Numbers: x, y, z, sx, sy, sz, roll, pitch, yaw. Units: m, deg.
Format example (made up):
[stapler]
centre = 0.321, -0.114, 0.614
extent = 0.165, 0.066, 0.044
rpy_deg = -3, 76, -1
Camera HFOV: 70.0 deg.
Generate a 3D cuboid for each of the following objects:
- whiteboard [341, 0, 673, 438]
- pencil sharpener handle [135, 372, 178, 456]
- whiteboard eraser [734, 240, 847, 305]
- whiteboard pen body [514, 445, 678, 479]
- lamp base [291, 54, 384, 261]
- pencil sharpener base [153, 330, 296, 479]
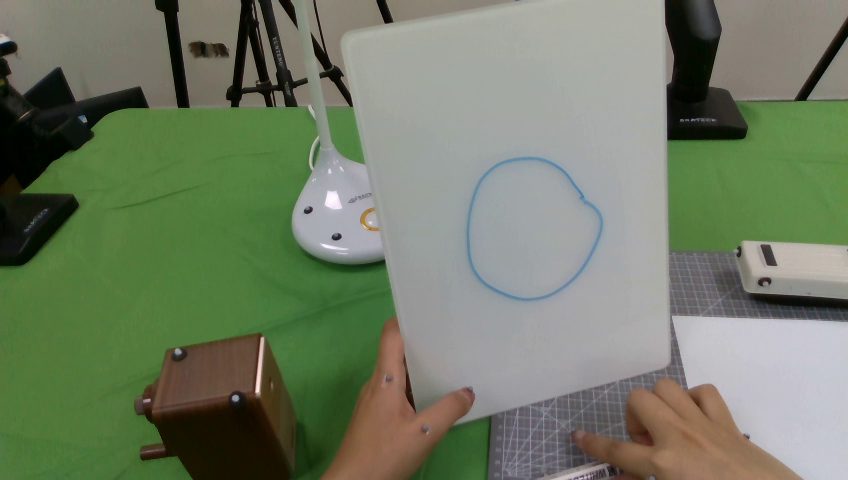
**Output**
[whiteboard]
centre = 0.066, -0.031, 0.497
extent = 0.217, 0.307, 0.142
rpy_deg = -13, 21, -7
[pencil sharpener handle]
centre = -0.194, 0.127, 0.430
extent = 0.031, 0.068, 0.035
rpy_deg = -9, 28, -3
[whiteboard eraser]
centre = 0.346, 0.030, 0.548
extent = 0.112, 0.042, 0.055
rpy_deg = 4, 42, 11
[whiteboard pen body]
centre = 0.116, 0.166, 0.433
extent = 0.141, 0.017, 0.017
rpy_deg = -12, 40, -7
[lamp base]
centre = -0.084, -0.095, 0.643
extent = 0.160, 0.182, 0.177
rpy_deg = -31, 44, -27
[pencil sharpener base]
centre = -0.143, 0.126, 0.444
extent = 0.077, 0.108, 0.060
rpy_deg = -9, 41, -3
